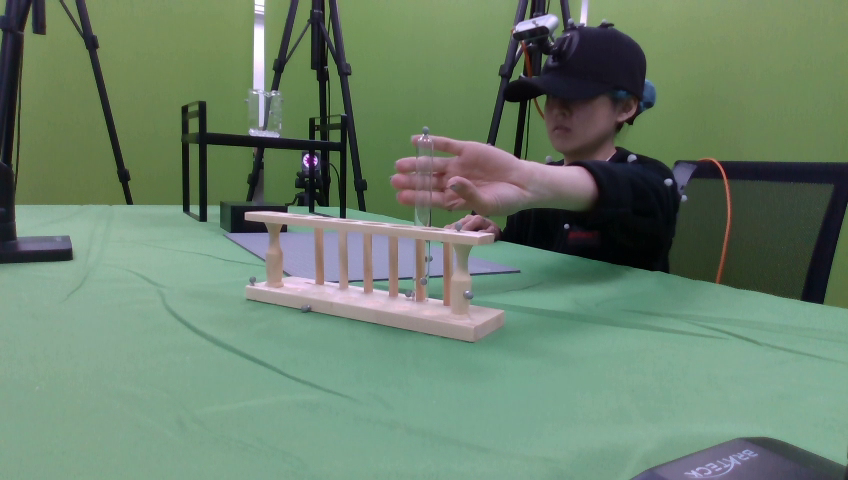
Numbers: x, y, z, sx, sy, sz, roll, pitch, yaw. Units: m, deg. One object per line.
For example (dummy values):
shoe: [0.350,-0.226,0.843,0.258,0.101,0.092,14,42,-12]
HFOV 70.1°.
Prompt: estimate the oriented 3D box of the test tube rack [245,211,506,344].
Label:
test tube rack: [-0.049,0.025,0.547,0.241,0.085,0.067,7,8,28]

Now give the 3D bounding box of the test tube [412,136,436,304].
test tube: [0.000,-0.017,0.537,0.017,0.150,0.017,2,8,0]

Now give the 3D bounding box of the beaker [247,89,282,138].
beaker: [-0.347,-0.274,1.320,0.074,0.100,0.083,-1,9,-27]
